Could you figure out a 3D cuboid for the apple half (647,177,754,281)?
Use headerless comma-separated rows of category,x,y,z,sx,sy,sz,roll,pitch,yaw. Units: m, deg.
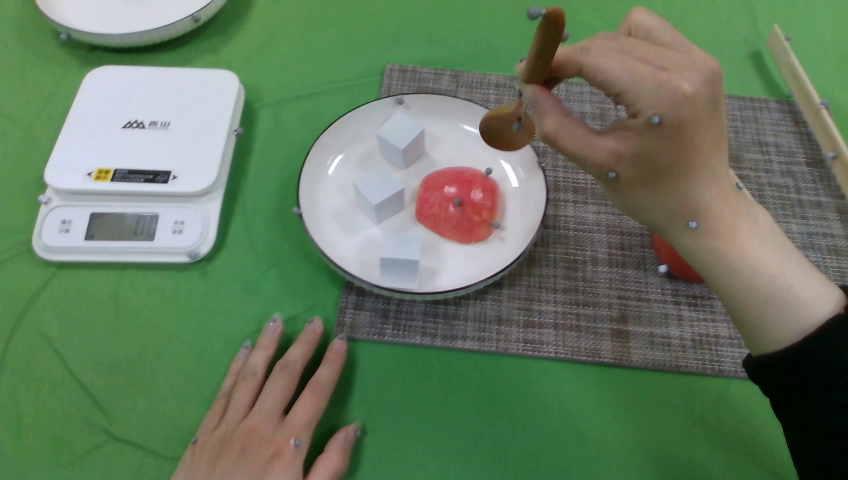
apple half,0.209,-0.001,0.481,0.053,0.075,0.080,-29,67,-14

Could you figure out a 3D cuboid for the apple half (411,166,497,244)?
apple half,0.027,-0.038,0.511,0.081,0.033,0.080,3,59,-4

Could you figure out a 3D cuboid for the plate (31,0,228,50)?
plate,-0.306,-0.274,0.653,0.208,0.039,0.205,1,59,-1

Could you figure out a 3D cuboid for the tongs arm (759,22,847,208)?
tongs arm,0.360,-0.056,0.544,0.051,0.027,0.381,-5,60,-5

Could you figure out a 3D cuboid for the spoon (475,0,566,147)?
spoon,0.058,-0.089,0.362,0.041,0.194,0.021,14,85,1

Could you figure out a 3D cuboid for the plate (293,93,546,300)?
plate,-0.003,-0.038,0.516,0.209,0.038,0.207,1,58,-1

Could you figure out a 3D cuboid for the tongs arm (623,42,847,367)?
tongs arm,0.279,-0.042,0.535,0.028,0.028,0.383,-15,61,-15

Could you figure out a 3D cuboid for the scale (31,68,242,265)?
scale,-0.248,-0.071,0.535,0.149,0.032,0.199,1,59,-1
